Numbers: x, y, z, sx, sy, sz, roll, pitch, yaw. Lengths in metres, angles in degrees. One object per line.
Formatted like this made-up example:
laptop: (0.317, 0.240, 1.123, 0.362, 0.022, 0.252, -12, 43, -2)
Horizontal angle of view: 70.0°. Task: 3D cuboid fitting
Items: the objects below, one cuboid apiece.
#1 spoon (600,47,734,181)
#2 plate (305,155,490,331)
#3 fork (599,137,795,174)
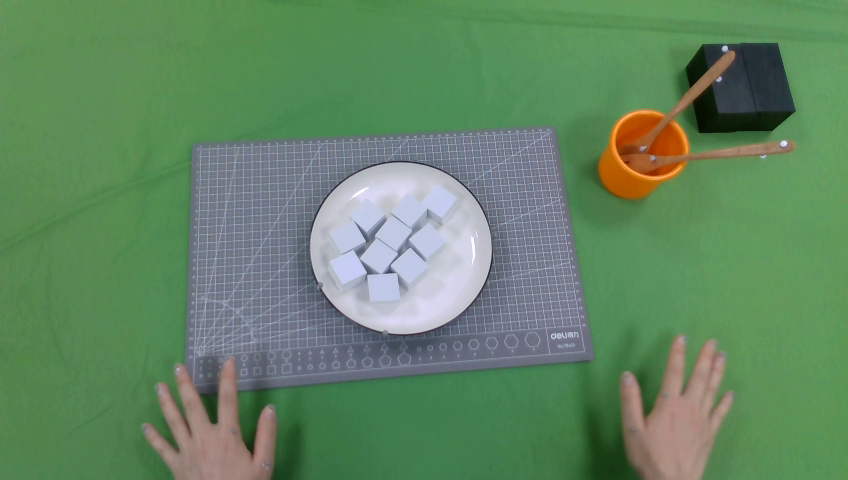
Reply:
spoon: (0.280, -0.143, 0.703, 0.041, 0.194, 0.022, 51, 33, 16)
plate: (-0.030, 0.004, 0.694, 0.208, 0.039, 0.206, 1, 72, -3)
fork: (0.299, -0.097, 0.684, 0.206, 0.019, 0.028, -2, 86, 41)
